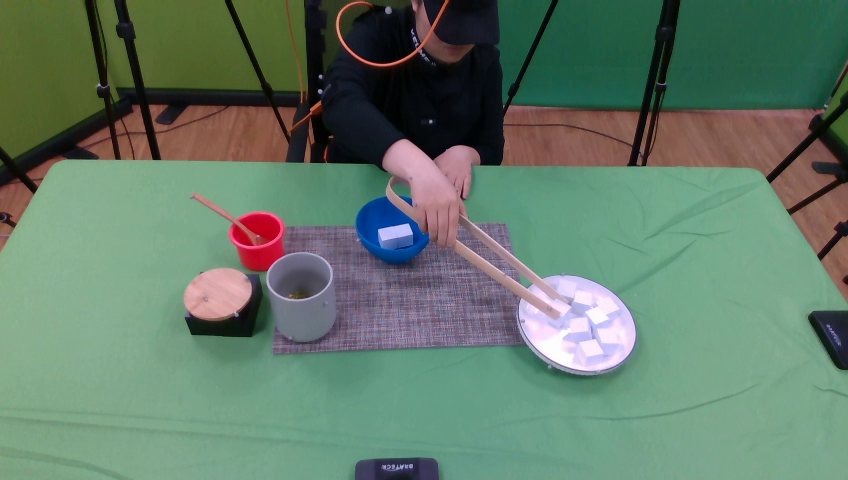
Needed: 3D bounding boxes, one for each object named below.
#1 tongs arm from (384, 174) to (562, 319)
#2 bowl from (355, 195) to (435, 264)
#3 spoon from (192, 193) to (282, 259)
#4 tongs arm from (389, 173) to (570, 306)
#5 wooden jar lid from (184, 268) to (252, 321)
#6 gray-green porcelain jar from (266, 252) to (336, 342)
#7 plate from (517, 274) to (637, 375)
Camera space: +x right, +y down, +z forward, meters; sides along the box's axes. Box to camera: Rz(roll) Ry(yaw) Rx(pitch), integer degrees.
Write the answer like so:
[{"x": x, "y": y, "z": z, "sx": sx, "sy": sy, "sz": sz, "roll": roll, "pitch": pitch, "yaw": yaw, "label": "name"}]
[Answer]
[{"x": 0.084, "y": 0.010, "z": 1.071, "sx": 0.384, "sy": 0.026, "sz": 0.050, "roll": 34, "pitch": 54, "yaw": 6, "label": "tongs arm"}, {"x": -0.056, "y": -0.008, "z": 1.158, "sx": 0.151, "sy": 0.077, "sz": 0.150, "roll": 2, "pitch": 46, "yaw": -2, "label": "bowl"}, {"x": -0.342, "y": -0.027, "z": 1.115, "sx": 0.194, "sy": 0.021, "sz": 0.041, "roll": 43, "pitch": 40, "yaw": -24, "label": "spoon"}, {"x": 0.097, "y": -0.004, "z": 1.084, "sx": 0.387, "sy": 0.028, "sz": 0.028, "roll": 37, "pitch": 58, "yaw": 8, "label": "tongs arm"}, {"x": -0.343, "y": 0.092, "z": 1.015, "sx": 0.108, "sy": 0.021, "sz": 0.107, "roll": 3, "pitch": 46, "yaw": -3, "label": "wooden jar lid"}, {"x": -0.202, "y": 0.100, "z": 1.009, "sx": 0.106, "sy": 0.127, "sz": 0.105, "roll": 2, "pitch": 46, "yaw": -2, "label": "gray-green porcelain jar"}, {"x": 0.264, "y": 0.149, "z": 1.060, "sx": 0.209, "sy": 0.038, "sz": 0.208, "roll": 3, "pitch": 46, "yaw": -3, "label": "plate"}]
